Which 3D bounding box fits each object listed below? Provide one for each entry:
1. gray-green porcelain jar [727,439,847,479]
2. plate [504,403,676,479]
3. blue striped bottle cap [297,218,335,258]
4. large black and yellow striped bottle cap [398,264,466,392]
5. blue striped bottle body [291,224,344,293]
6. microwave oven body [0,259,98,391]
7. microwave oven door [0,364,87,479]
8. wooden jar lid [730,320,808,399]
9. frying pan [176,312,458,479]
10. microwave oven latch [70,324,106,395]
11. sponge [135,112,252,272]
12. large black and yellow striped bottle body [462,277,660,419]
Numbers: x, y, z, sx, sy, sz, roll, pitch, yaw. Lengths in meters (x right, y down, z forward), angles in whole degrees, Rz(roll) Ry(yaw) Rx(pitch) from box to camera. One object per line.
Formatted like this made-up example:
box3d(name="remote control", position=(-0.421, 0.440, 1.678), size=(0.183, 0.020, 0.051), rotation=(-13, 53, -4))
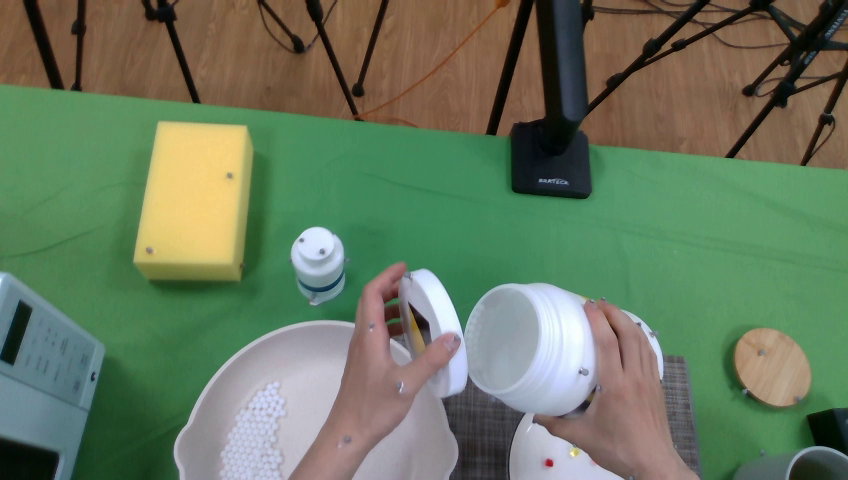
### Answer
box3d(name="gray-green porcelain jar", position=(0.429, 0.293, 0.708), size=(0.106, 0.127, 0.105), rotation=(3, 66, -6))
box3d(name="plate", position=(0.197, 0.270, 0.734), size=(0.209, 0.038, 0.207), rotation=(3, 66, -6))
box3d(name="blue striped bottle cap", position=(-0.127, -0.003, 0.713), size=(0.044, 0.021, 0.044), rotation=(3, 68, -6))
box3d(name="large black and yellow striped bottle cap", position=(0.005, 0.078, 0.537), size=(0.019, 0.115, 0.114), rotation=(-14, 69, -18))
box3d(name="blue striped bottle body", position=(-0.132, 0.019, 0.758), size=(0.063, 0.121, 0.062), rotation=(3, 66, -6))
box3d(name="microwave oven body", position=(-0.540, 0.243, 0.528), size=(0.326, 0.261, 0.438), rotation=(6, 66, -5))
box3d(name="microwave oven door", position=(-0.398, 0.294, 0.518), size=(0.039, 0.245, 0.353), rotation=(5, 66, -5))
box3d(name="wooden jar lid", position=(0.468, 0.164, 0.828), size=(0.108, 0.021, 0.107), rotation=(2, 68, -6))
box3d(name="frying pan", position=(-0.120, 0.317, 0.637), size=(0.307, 0.103, 0.483), rotation=(4, 58, -3))
box3d(name="microwave oven latch", position=(-0.392, 0.137, 0.699), size=(0.030, 0.029, 0.078), rotation=(6, 67, -5))
box3d(name="sponge", position=(-0.300, -0.064, 0.806), size=(0.118, 0.061, 0.205), rotation=(1, 67, -7))
box3d(name="large black and yellow striped bottle body", position=(0.142, 0.112, 0.634), size=(0.185, 0.130, 0.130), rotation=(19, 60, -35))
